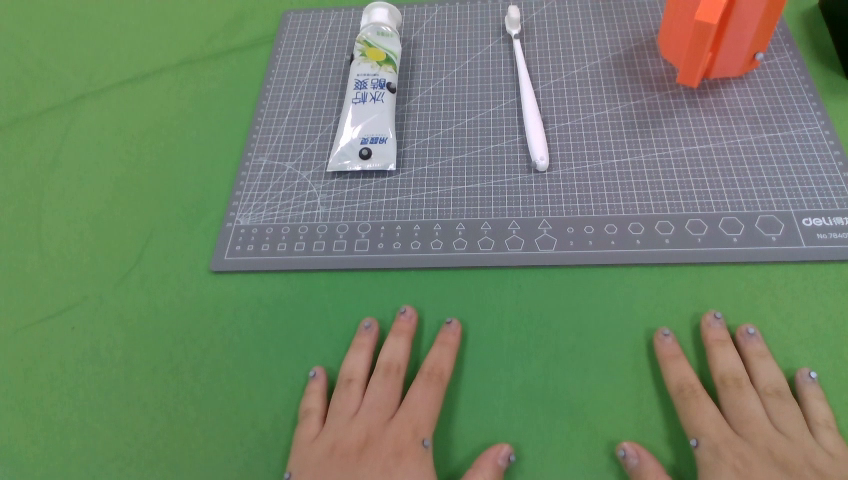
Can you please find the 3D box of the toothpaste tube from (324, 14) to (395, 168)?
[{"bbox_3d":[-0.047,-0.127,0.499,0.055,0.035,0.163,-3,60,10],"label":"toothpaste tube"}]

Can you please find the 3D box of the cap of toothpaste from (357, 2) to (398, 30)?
[{"bbox_3d":[-0.041,-0.194,0.535,0.037,0.037,0.011,2,62,8],"label":"cap of toothpaste"}]

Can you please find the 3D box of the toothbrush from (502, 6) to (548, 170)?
[{"bbox_3d":[0.081,-0.129,0.492,0.014,0.017,0.180,2,57,-8],"label":"toothbrush"}]

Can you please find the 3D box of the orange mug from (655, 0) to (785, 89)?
[{"bbox_3d":[0.224,-0.178,0.459,0.083,0.102,0.126,24,57,21],"label":"orange mug"}]
